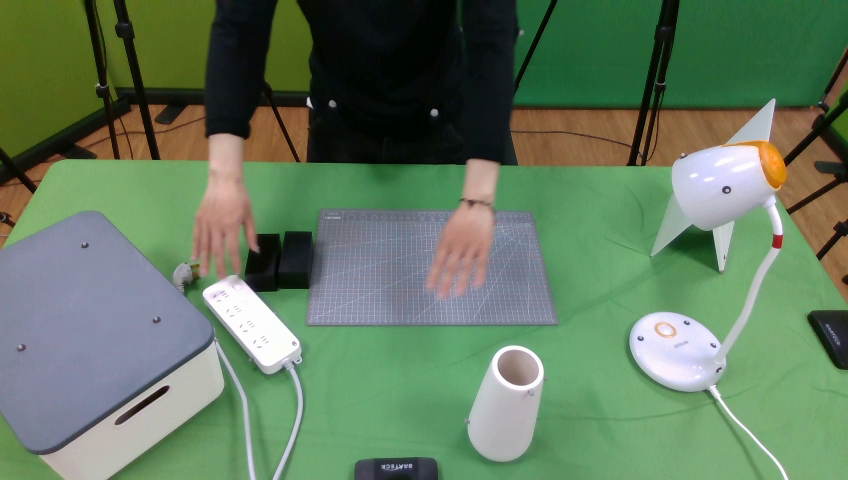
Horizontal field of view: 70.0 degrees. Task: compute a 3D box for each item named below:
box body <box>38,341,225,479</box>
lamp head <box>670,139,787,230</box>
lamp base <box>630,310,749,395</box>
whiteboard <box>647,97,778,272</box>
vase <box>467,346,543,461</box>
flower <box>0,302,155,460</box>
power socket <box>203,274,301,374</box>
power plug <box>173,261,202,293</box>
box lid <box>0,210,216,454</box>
[{"bbox_3d":[-0.506,0.155,0.916,0.362,0.161,0.254,35,54,26],"label":"box body"},{"bbox_3d":[0.415,-0.079,0.812,0.113,0.123,0.112,13,70,-37],"label":"lamp head"},{"bbox_3d":[0.447,0.142,0.984,0.161,0.181,0.178,-24,55,-24],"label":"lamp base"},{"bbox_3d":[0.602,-0.079,1.162,0.144,0.306,0.216,35,51,2],"label":"whiteboard"},{"bbox_3d":[0.116,0.234,0.861,0.098,0.201,0.097,1,47,-1],"label":"vase"},{"bbox_3d":[-0.553,0.222,0.944,0.361,0.038,0.044,39,62,6],"label":"flower"},{"bbox_3d":[-0.297,0.140,1.035,0.072,0.033,0.225,-32,57,-29],"label":"power socket"},{"bbox_3d":[-0.426,0.074,1.101,0.053,0.035,0.072,-15,91,-34],"label":"power plug"},{"bbox_3d":[-0.504,0.102,0.863,0.369,0.015,0.263,35,53,26],"label":"box lid"}]
